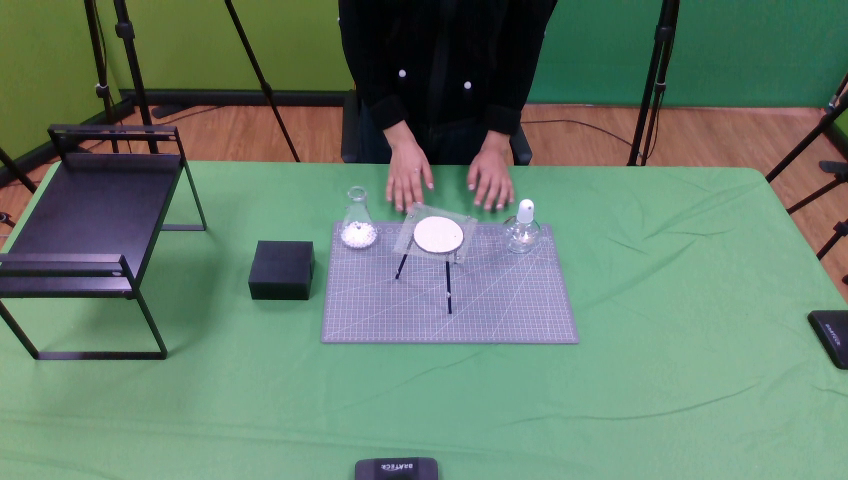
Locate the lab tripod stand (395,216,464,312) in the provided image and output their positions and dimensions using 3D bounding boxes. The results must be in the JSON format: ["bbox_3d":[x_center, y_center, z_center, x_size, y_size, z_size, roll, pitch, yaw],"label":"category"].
[{"bbox_3d":[0.023,0.036,1.084,0.148,0.132,0.147,4,46,-4],"label":"lab tripod stand"}]

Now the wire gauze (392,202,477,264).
[{"bbox_3d":[0.020,-0.011,1.037,0.121,0.011,0.124,13,47,8],"label":"wire gauze"}]

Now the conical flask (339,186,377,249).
[{"bbox_3d":[-0.128,-0.047,1.160,0.075,0.122,0.075,2,46,-2],"label":"conical flask"}]

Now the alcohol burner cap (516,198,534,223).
[{"bbox_3d":[0.194,-0.059,1.152,0.034,0.048,0.033,0,50,1],"label":"alcohol burner cap"}]

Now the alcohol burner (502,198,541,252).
[{"bbox_3d":[0.192,-0.033,1.178,0.078,0.119,0.077,2,44,-2],"label":"alcohol burner"}]
